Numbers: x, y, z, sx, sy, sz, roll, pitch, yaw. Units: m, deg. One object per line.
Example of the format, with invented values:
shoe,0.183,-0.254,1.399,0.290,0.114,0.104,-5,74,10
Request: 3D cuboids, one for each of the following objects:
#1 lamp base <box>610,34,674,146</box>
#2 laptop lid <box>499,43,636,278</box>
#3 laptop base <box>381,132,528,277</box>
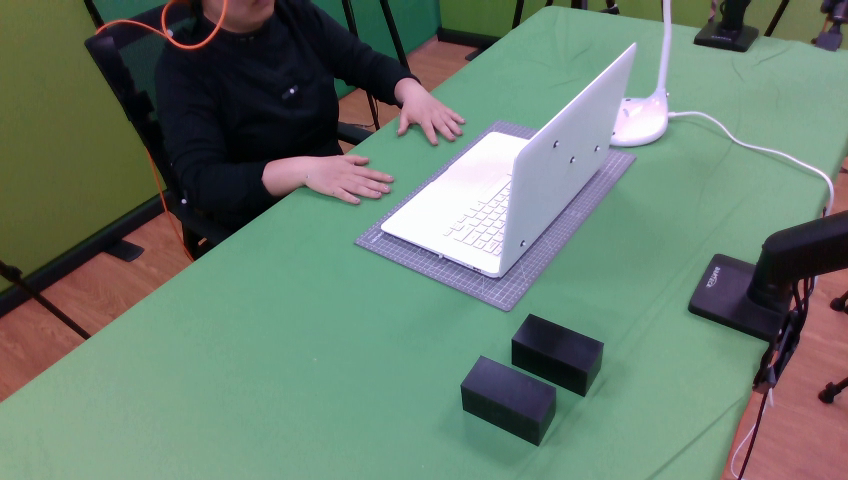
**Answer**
lamp base,0.392,-0.291,1.129,0.180,0.181,0.159,-11,41,-8
laptop lid,0.217,-0.121,0.898,0.013,0.242,0.358,28,50,25
laptop base,0.122,-0.077,1.043,0.233,0.023,0.355,20,47,33
